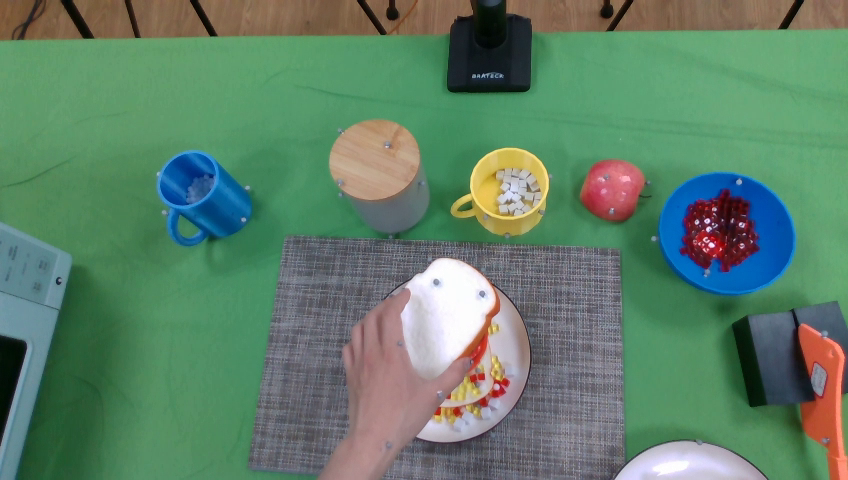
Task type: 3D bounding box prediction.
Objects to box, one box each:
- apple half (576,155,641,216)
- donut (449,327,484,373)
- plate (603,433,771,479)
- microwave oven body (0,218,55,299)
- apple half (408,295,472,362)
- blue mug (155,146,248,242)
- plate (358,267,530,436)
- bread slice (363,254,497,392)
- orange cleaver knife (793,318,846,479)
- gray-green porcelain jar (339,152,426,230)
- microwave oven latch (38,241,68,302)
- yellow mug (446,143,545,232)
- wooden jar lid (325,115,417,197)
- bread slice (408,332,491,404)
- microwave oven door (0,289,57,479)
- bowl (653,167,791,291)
[{"bbox_3d":[0.240,-0.077,0.783,0.074,0.054,0.080,24,77,16],"label":"apple half"},{"bbox_3d":[0.023,0.110,0.722,0.099,0.048,0.098,-2,72,7],"label":"donut"},{"bbox_3d":[0.288,0.317,0.658,0.209,0.038,0.208,-2,72,7],"label":"plate"},{"bbox_3d":[-0.681,0.173,0.694,0.325,0.262,0.439,3,73,7],"label":"microwave oven body"},{"bbox_3d":[0.017,0.097,0.689,0.081,0.033,0.080,-4,68,12],"label":"apple half"},{"bbox_3d":[-0.302,-0.051,0.808,0.082,0.106,0.116,23,76,13],"label":"blue mug"},{"bbox_3d":[0.024,0.133,0.744,0.207,0.039,0.206,-2,72,6],"label":"plate"},{"bbox_3d":[0.010,0.077,0.644,0.104,0.019,0.131,36,83,22],"label":"bread slice"},{"bbox_3d":[0.430,0.192,0.659,0.012,0.077,0.211,-8,93,-3],"label":"orange cleaver knife"},{"bbox_3d":[-0.053,-0.077,0.778,0.106,0.127,0.105,-2,71,6],"label":"gray-green porcelain jar"},{"bbox_3d":[-0.509,0.042,0.818,0.030,0.030,0.078,5,74,8],"label":"microwave oven latch"},{"bbox_3d":[0.091,-0.062,0.788,0.131,0.064,0.099,-19,71,1],"label":"yellow mug"},{"bbox_3d":[-0.062,-0.098,0.718,0.108,0.021,0.107,-1,70,4],"label":"wooden jar lid"},{"bbox_3d":[0.029,0.132,0.746,0.107,0.018,0.133,-14,72,1],"label":"bread slice"},{"bbox_3d":[-0.540,0.218,0.658,0.039,0.245,0.353,2,72,8],"label":"microwave oven door"},{"bbox_3d":[0.348,-0.004,0.733,0.151,0.077,0.150,-2,72,6],"label":"bowl"}]
